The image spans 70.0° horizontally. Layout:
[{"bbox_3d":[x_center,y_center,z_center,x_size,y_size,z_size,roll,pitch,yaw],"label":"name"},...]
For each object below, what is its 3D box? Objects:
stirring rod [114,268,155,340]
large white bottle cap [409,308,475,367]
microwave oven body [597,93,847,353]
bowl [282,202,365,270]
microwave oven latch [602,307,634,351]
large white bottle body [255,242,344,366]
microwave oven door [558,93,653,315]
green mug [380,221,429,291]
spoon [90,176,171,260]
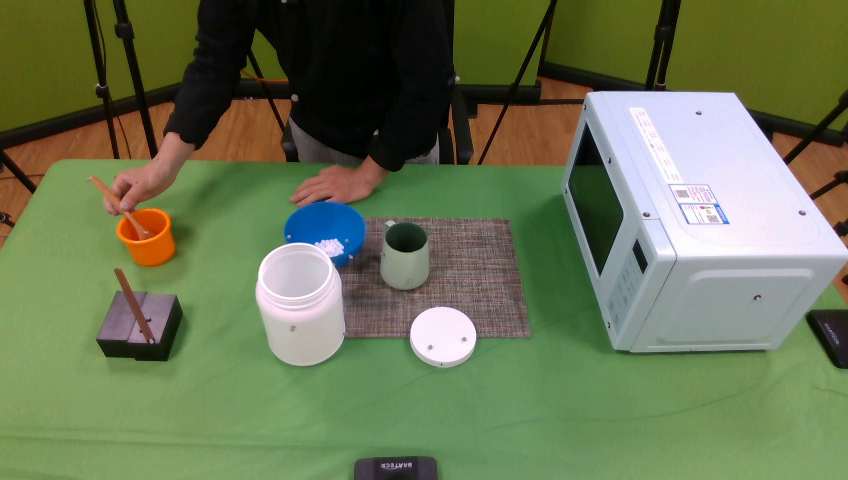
[{"bbox_3d":[-0.479,0.103,0.999,0.014,0.006,0.175,8,32,-50],"label":"stirring rod"},{"bbox_3d":[0.031,0.165,1.041,0.115,0.018,0.114,2,47,-2],"label":"large white bottle cap"},{"bbox_3d":[0.475,-0.041,1.109,0.326,0.261,0.438,-1,45,-4],"label":"microwave oven body"},{"bbox_3d":[-0.185,0.006,1.136,0.151,0.077,0.150,3,46,-3],"label":"bowl"},{"bbox_3d":[0.332,0.153,1.044,0.030,0.029,0.078,-1,45,-4],"label":"microwave oven latch"},{"bbox_3d":[-0.196,0.102,0.967,0.131,0.185,0.130,2,49,-2],"label":"large white bottle body"},{"bbox_3d":[0.327,-0.074,1.123,0.039,0.245,0.353,-1,46,-5],"label":"microwave oven door"},{"bbox_3d":[-0.043,0.020,1.116,0.092,0.105,0.124,-20,50,-21],"label":"green mug"},{"bbox_3d":[-0.539,-0.042,1.111,0.021,0.194,0.041,-14,27,52],"label":"spoon"}]
